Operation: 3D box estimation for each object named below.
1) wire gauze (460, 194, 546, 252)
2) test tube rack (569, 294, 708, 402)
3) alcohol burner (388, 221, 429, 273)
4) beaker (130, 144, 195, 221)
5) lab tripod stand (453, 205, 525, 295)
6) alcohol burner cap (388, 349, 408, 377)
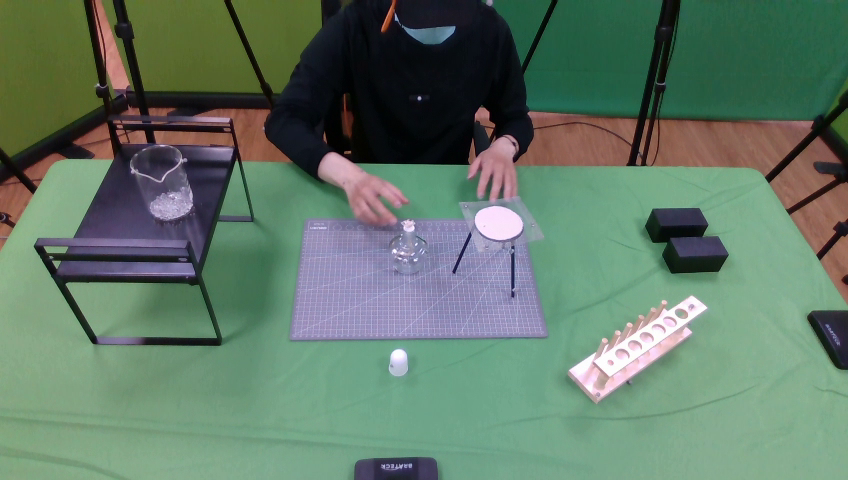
[{"bbox_3d":[0.136,-0.035,1.061,0.121,0.011,0.124,-9,47,-12],"label":"wire gauze"},{"bbox_3d":[0.360,0.167,1.014,0.242,0.085,0.066,-25,53,-25],"label":"test tube rack"},{"bbox_3d":[-0.028,0.006,1.119,0.078,0.119,0.077,2,48,-2],"label":"alcohol burner"},{"bbox_3d":[-0.403,-0.085,0.944,0.074,0.101,0.083,-15,50,-17],"label":"beaker"},{"bbox_3d":[0.131,0.010,1.111,0.148,0.132,0.147,1,45,-1],"label":"lab tripod stand"},{"bbox_3d":[-0.042,0.197,0.989,0.034,0.048,0.033,2,45,-2],"label":"alcohol burner cap"}]
